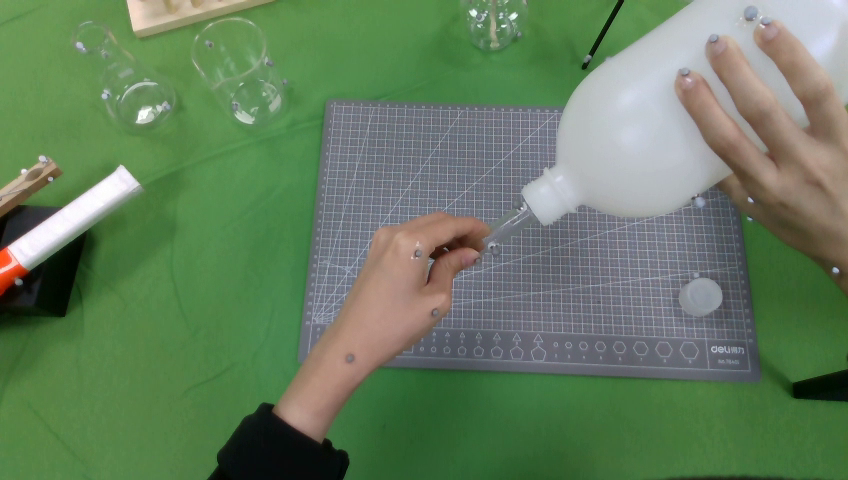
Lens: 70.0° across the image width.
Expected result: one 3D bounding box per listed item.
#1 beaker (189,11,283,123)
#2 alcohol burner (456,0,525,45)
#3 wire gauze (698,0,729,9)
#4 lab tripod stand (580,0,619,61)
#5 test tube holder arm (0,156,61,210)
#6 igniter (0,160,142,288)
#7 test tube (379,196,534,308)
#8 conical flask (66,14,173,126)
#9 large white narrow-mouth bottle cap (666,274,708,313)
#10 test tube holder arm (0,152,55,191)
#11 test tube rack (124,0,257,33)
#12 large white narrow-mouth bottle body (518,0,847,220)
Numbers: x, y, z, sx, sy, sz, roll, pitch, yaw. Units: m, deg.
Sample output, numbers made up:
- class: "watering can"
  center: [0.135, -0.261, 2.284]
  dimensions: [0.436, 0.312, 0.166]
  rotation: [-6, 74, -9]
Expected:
- class: "beaker"
  center: [-0.195, -0.176, 0.643]
  dimensions: [0.074, 0.101, 0.083]
  rotation: [17, 72, 7]
- class: "alcohol burner"
  center: [0.075, -0.273, 0.668]
  dimensions: [0.078, 0.120, 0.077]
  rotation: [0, 69, -1]
- class: "wire gauze"
  center: [0.252, -0.288, 0.591]
  dimensions: [0.121, 0.011, 0.124]
  rotation: [23, 74, 6]
- class: "lab tripod stand"
  center: [0.245, -0.265, 0.654]
  dimensions: [0.148, 0.132, 0.147]
  rotation: [0, 70, -1]
- class: "test tube holder arm"
  center: [-0.398, -0.050, 0.592]
  dimensions: [0.088, 0.015, 0.010]
  rotation: [-40, 75, -13]
- class: "igniter"
  center: [-0.392, 0.019, 0.565]
  dimensions: [0.276, 0.025, 0.057]
  rotation: [-41, 77, -16]
- class: "test tube"
  center: [0.019, 0.012, 0.437]
  dimensions: [0.150, 0.017, 0.017]
  rotation: [-35, 68, 32]
- class: "conical flask"
  center: [-0.321, -0.180, 0.632]
  dimensions: [0.075, 0.122, 0.075]
  rotation: [0, 70, 1]
- class: "large white narrow-mouth bottle cap"
  center: [0.262, 0.054, 0.603]
  dimensions: [0.038, 0.024, 0.037]
  rotation: [0, 72, 1]
- class: "test tube holder arm"
  center: [-0.435, -0.025, 0.583]
  dimensions: [0.178, 0.015, 0.013]
  rotation: [-41, 75, -13]
- class: "test tube rack"
  center: [-0.239, -0.325, 0.701]
  dimensions: [0.242, 0.085, 0.066]
  rotation: [-18, 72, -6]
- class: "large white narrow-mouth bottle body"
  center: [0.145, -0.075, 0.364]
  dimensions: [0.194, 0.102, 0.101]
  rotation: [-34, 72, 14]
